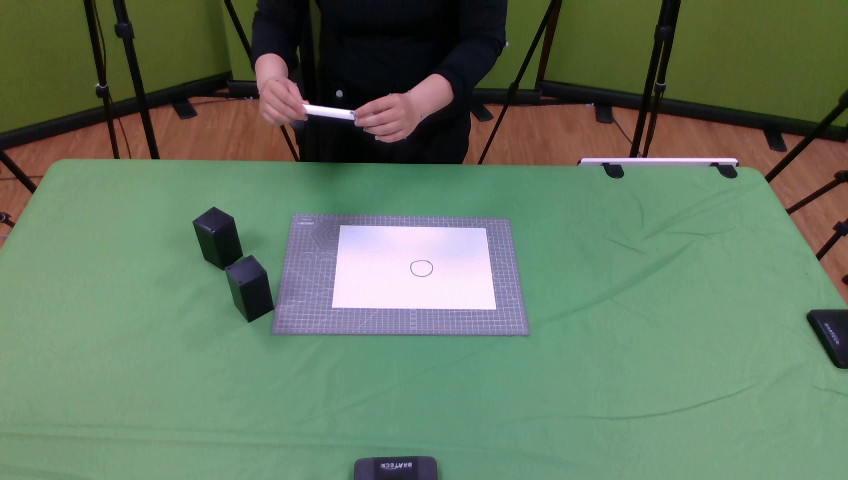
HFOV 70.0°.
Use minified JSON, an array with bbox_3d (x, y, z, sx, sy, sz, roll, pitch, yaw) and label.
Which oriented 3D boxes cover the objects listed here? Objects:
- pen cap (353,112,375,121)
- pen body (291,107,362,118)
[{"bbox_3d":[-0.107,-0.221,1.083,0.038,0.017,0.017,0,44,16],"label":"pen cap"},{"bbox_3d":[-0.168,-0.230,1.093,0.144,0.017,0.017,4,45,9],"label":"pen body"}]
